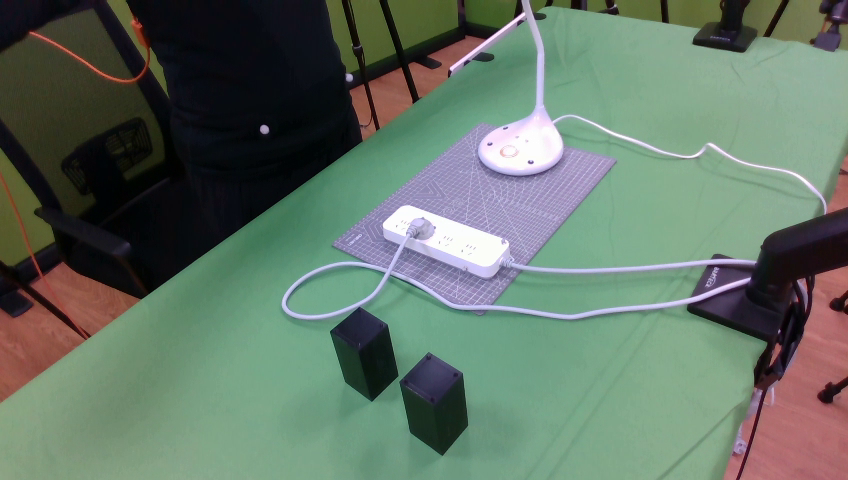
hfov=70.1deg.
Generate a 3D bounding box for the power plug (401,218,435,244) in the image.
[{"bbox_3d":[-0.014,-0.005,0.937,0.073,0.053,0.035,-37,46,-27],"label":"power plug"}]

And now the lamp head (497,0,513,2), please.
[{"bbox_3d":[0.120,-0.420,0.861,0.111,0.113,0.123,24,72,32],"label":"lamp head"}]

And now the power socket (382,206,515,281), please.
[{"bbox_3d":[0.032,0.002,0.950,0.225,0.033,0.072,21,49,29],"label":"power socket"}]

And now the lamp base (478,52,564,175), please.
[{"bbox_3d":[0.181,-0.236,1.095,0.159,0.181,0.179,19,44,28],"label":"lamp base"}]
